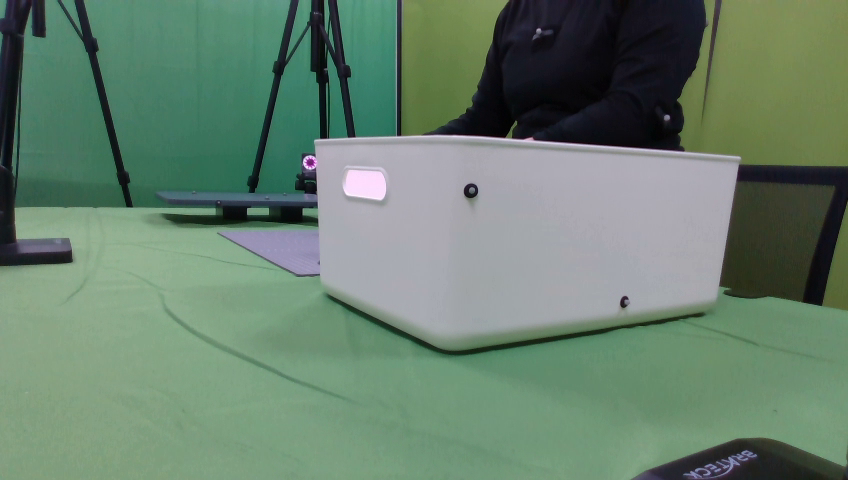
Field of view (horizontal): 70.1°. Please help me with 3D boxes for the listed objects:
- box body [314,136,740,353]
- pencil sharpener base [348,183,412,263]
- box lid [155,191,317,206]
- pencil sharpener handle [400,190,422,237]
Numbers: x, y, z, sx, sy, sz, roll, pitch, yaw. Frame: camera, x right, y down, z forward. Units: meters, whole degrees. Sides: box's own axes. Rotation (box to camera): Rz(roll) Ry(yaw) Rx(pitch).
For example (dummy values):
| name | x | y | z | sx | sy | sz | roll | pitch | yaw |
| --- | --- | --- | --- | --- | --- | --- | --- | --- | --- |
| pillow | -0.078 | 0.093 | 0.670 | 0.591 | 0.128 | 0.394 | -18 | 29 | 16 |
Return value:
| name | x | y | z | sx | sy | sz | roll | pitch | yaw |
| --- | --- | --- | --- | --- | --- | --- | --- | --- | --- |
| box body | 0.098 | -0.012 | 0.605 | 0.366 | 0.160 | 0.253 | -2 | 8 | -33 |
| pencil sharpener base | -0.059 | -0.024 | 0.846 | 0.077 | 0.107 | 0.061 | -1 | 7 | -30 |
| box lid | -0.387 | -0.091 | 1.340 | 0.373 | 0.015 | 0.262 | -2 | 8 | -30 |
| pencil sharpener handle | -0.016 | -0.038 | 0.872 | 0.031 | 0.067 | 0.036 | -1 | 15 | -30 |
